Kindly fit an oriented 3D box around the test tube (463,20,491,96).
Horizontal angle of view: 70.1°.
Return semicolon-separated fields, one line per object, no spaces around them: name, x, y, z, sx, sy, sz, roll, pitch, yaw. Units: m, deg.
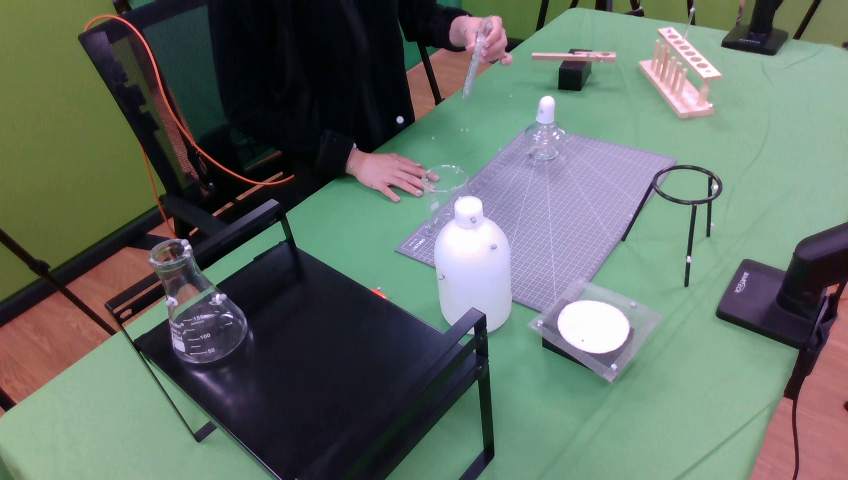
test tube;0.089;-0.306;1.030;0.017;0.150;0.017;6;53;-7

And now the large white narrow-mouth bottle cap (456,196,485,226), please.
large white narrow-mouth bottle cap;0.057;-0.036;0.749;0.038;0.024;0.037;-4;40;4

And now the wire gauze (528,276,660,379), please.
wire gauze;0.214;0.103;0.763;0.124;0.011;0.122;30;52;35

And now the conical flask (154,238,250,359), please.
conical flask;-0.225;0.055;0.597;0.075;0.122;0.075;-5;41;4

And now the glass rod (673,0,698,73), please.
glass rod;0.537;-0.425;1.244;0.008;0.200;0.008;0;47;0

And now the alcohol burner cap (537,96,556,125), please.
alcohol burner cap;0.223;-0.237;1.095;0.034;0.048;0.033;0;42;1

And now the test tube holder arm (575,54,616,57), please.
test tube holder arm;0.373;-0.398;1.318;0.087;0.015;0.010;5;51;16

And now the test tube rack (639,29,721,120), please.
test tube rack;0.527;-0.351;1.262;0.067;0.085;0.241;-8;40;1

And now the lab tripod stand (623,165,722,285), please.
lab tripod stand;0.365;-0.030;0.874;0.148;0.132;0.147;-6;41;6

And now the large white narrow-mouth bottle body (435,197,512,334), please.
large white narrow-mouth bottle body;0.066;0.028;0.805;0.102;0.195;0.101;-4;40;4

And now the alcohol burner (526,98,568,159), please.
alcohol burner;0.228;-0.210;1.118;0.078;0.119;0.077;-5;43;5

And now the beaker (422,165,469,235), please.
beaker;0.041;-0.063;0.986;0.073;0.101;0.084;20;47;29

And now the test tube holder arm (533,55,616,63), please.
test tube holder arm;0.329;-0.398;1.327;0.178;0.015;0.013;5;51;15

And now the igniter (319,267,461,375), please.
igniter;-0.060;0.108;0.862;0.274;0.025;0.057;28;62;35
